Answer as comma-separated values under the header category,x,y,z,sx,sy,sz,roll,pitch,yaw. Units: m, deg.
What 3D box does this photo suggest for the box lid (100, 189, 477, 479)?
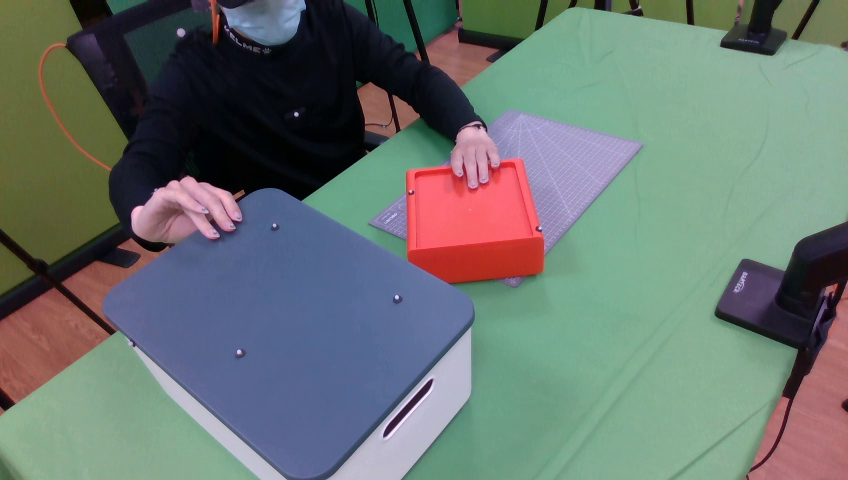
category,x,y,z,sx,sy,sz,roll,pitch,yaw
box lid,-0.156,0.072,0.671,0.368,0.015,0.264,28,52,29

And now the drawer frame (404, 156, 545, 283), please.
category,x,y,z,sx,sy,sz,roll,pitch,yaw
drawer frame,0.073,-0.036,0.953,0.202,0.083,0.212,-6,41,1

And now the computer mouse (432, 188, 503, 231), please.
category,x,y,z,sx,sy,sz,roll,pitch,yaw
computer mouse,0.071,-0.051,0.994,0.117,0.041,0.062,-10,44,6

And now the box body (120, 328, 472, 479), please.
category,x,y,z,sx,sy,sz,roll,pitch,yaw
box body,-0.147,0.136,0.725,0.361,0.161,0.255,24,50,32

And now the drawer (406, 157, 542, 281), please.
category,x,y,z,sx,sy,sz,roll,pitch,yaw
drawer,0.072,-0.037,0.957,0.194,0.073,0.210,-5,41,1
